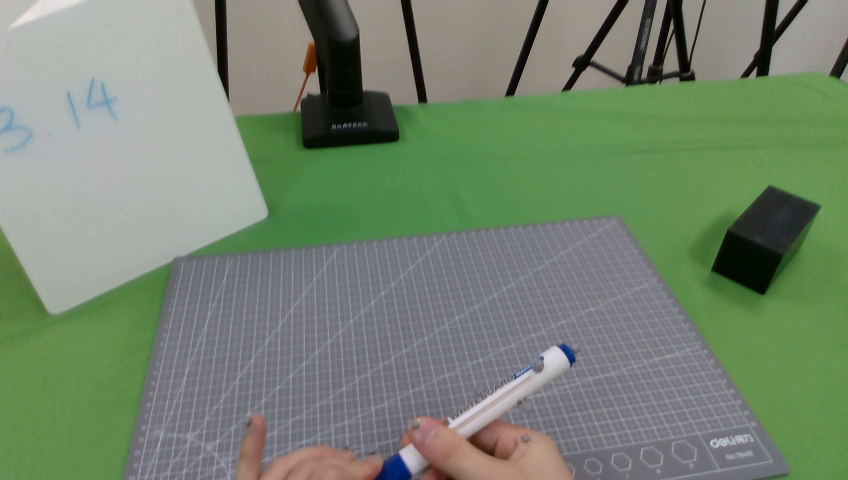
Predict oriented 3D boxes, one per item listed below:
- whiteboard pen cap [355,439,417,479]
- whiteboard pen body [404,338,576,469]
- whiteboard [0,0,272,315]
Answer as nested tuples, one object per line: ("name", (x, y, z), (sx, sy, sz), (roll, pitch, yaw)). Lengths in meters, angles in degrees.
("whiteboard pen cap", (-0.020, 0.124, 0.328), (0.033, 0.018, 0.018), (-38, 49, -7))
("whiteboard pen body", (0.028, 0.097, 0.341), (0.141, 0.017, 0.017), (-30, 47, -13))
("whiteboard", (-0.315, -0.129, 0.564), (0.217, 0.308, 0.142), (-30, 29, -31))
